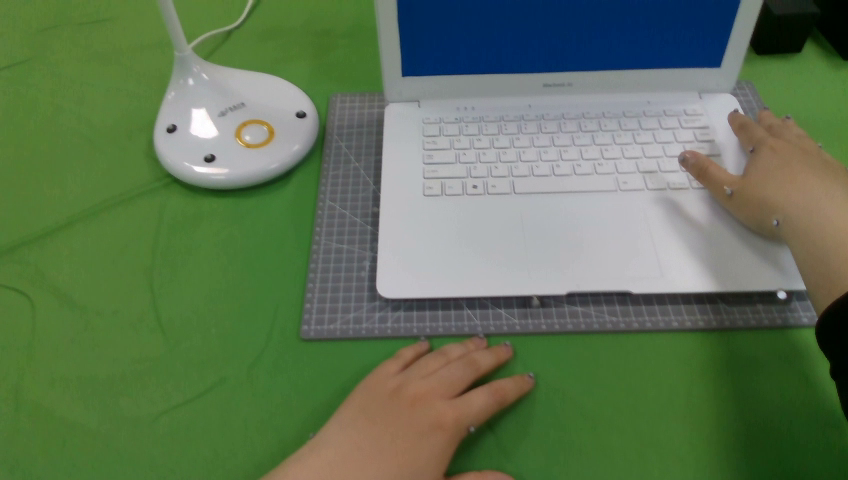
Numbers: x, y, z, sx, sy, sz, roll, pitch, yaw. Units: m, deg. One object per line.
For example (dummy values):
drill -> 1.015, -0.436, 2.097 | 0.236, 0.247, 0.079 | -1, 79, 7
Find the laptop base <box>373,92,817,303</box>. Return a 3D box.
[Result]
laptop base -> 0.134, -0.046, 0.549 | 0.354, 0.023, 0.233 | -2, 55, 1

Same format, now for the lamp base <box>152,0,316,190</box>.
lamp base -> -0.201, -0.163, 0.551 | 0.178, 0.182, 0.160 | 30, 58, 26

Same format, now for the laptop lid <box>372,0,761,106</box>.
laptop lid -> 0.128, -0.225, 0.539 | 0.357, 0.244, 0.013 | -3, 44, 2
